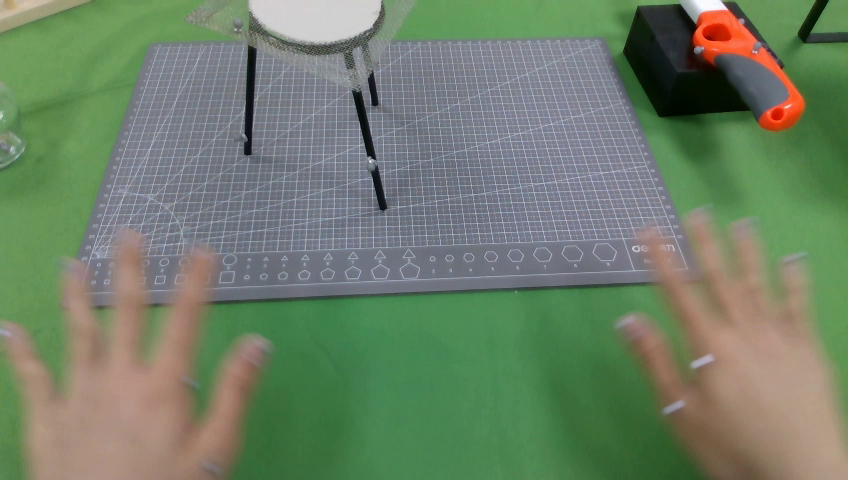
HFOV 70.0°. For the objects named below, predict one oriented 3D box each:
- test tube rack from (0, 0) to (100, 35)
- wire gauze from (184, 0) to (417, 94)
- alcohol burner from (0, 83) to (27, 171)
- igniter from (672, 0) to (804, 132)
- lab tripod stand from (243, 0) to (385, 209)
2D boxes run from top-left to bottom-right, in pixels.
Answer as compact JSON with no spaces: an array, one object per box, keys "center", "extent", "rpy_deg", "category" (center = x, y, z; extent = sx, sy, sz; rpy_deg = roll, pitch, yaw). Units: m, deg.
[{"center":[-0.365,-0.293,0.612],"extent":[0.242,0.086,0.066],"rpy_deg":[-34,61,-25],"category":"test tube rack"},{"center":[-0.072,-0.153,0.400],"extent":[0.124,0.011,0.121],"rpy_deg":[21,55,11],"category":"wire gauze"},{"center":[-0.354,-0.105,0.451],"extent":[0.078,0.120,0.077],"rpy_deg":[1,54,0],"category":"alcohol burner"},{"center":[0.258,-0.190,0.540],"extent":[0.057,0.025,0.273],"rpy_deg":[-7,51,-4],"category":"igniter"},{"center":[-0.070,-0.111,0.453],"extent":[0.148,0.132,0.147],"rpy_deg":[3,52,-3],"category":"lab tripod stand"}]
